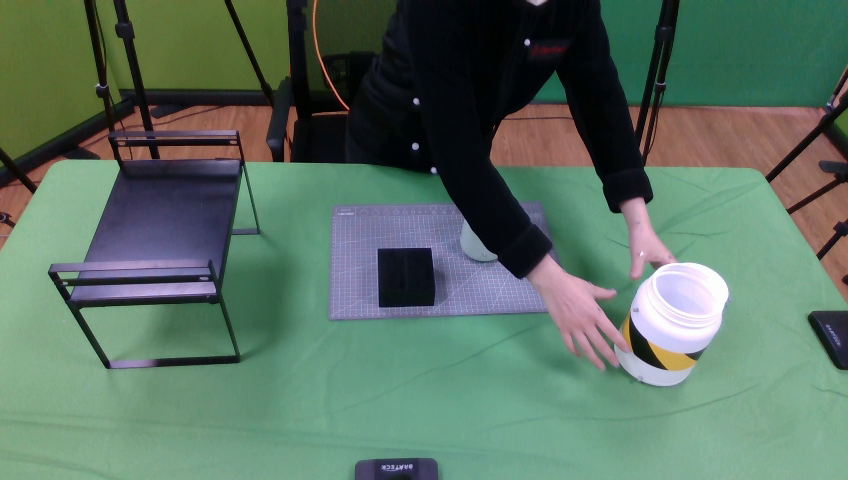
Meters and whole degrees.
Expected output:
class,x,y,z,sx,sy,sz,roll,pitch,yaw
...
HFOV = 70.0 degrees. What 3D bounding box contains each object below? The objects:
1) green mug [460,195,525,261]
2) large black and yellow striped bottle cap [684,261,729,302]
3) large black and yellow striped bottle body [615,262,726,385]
class,x,y,z,sx,sy,sz,roll,pitch,yaw
green mug,0.134,-0.023,1.168,0.125,0.105,0.092,-7,47,-12
large black and yellow striped bottle cap,0.519,0.088,1.152,0.115,0.019,0.114,2,48,-2
large black and yellow striped bottle body,0.397,0.135,0.982,0.131,0.185,0.130,2,47,-2
